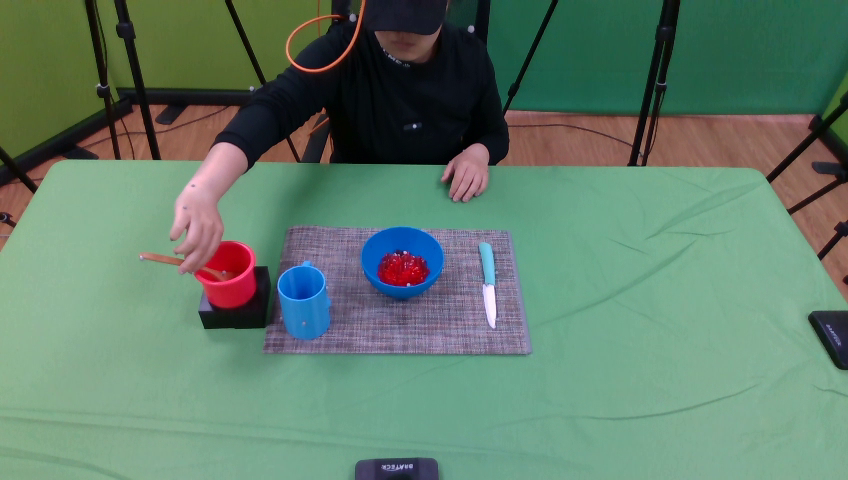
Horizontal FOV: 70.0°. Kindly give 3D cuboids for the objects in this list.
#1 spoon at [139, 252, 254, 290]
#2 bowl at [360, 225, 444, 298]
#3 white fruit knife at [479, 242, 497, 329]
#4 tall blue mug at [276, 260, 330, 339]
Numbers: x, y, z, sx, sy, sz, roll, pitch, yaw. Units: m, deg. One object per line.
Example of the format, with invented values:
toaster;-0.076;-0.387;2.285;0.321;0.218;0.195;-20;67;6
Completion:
spoon;-0.360;0.046;0.973;0.195;0.021;0.041;26;29;-44
bowl;-0.040;0.053;1.099;0.151;0.077;0.150;2;46;-2
white fruit knife;0.122;0.080;1.130;0.027;0.016;0.206;-19;45;19
tall blue mug;-0.208;0.094;1.025;0.078;0.108;0.106;-21;51;-21
